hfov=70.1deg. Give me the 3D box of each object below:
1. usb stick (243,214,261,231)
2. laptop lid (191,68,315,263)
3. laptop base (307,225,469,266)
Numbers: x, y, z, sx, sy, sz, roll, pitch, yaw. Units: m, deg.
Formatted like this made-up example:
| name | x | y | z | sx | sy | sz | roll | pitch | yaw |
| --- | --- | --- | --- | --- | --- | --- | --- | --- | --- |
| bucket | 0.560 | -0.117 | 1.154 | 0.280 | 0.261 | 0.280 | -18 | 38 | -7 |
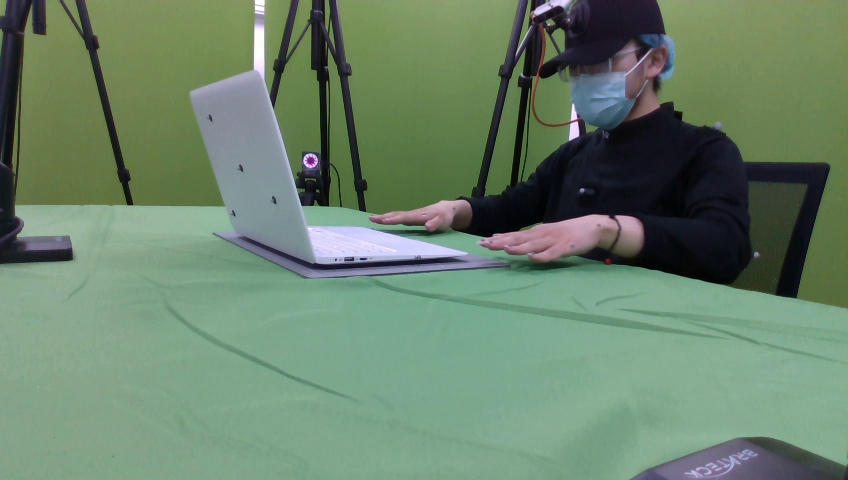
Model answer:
| name | x | y | z | sx | sy | sz | roll | pitch | yaw |
| --- | --- | --- | --- | --- | --- | --- | --- | --- | --- |
| usb stick | -0.298 | -0.030 | 1.053 | 0.021 | 0.027 | 0.059 | 0 | 10 | -31 |
| laptop lid | -0.250 | -0.102 | 0.838 | 0.013 | 0.242 | 0.355 | -22 | 20 | -29 |
| laptop base | -0.125 | 0.006 | 0.936 | 0.237 | 0.023 | 0.352 | 1 | 7 | -33 |
